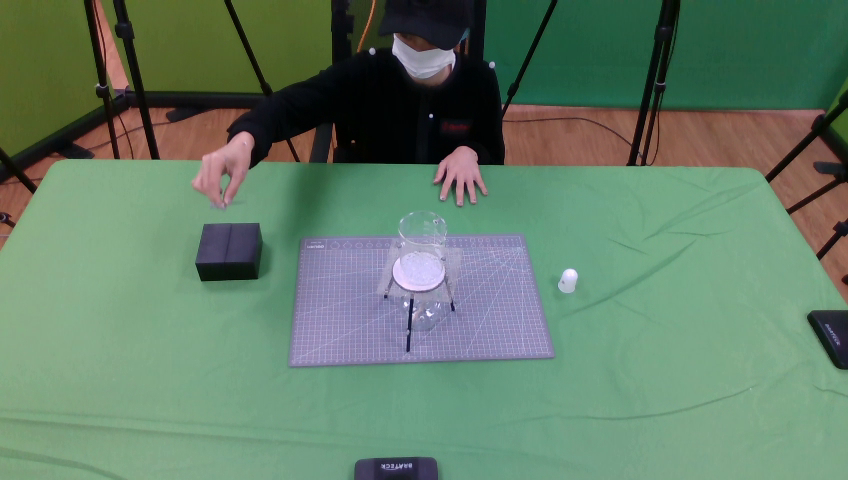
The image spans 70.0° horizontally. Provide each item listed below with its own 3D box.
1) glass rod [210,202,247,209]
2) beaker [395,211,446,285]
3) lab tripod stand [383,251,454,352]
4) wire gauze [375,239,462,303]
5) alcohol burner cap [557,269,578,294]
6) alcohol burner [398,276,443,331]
[{"bbox_3d":[-0.325,-0.058,1.017,0.008,0.008,0.199,3,5,-2],"label":"glass rod"},{"bbox_3d":[-0.002,0.017,0.941,0.083,0.101,0.074,36,55,28],"label":"beaker"},{"bbox_3d":[-0.016,0.094,1.025,0.148,0.132,0.147,1,46,-1],"label":"lab tripod stand"},{"bbox_3d":[-0.006,0.049,0.978,0.121,0.011,0.124,10,44,5],"label":"wire gauze"},{"bbox_3d":[0.270,0.075,1.135,0.034,0.048,0.033,3,46,-3],"label":"alcohol burner cap"},{"bbox_3d":[-0.005,0.101,1.033,0.078,0.119,0.077,3,48,-3],"label":"alcohol burner"}]
